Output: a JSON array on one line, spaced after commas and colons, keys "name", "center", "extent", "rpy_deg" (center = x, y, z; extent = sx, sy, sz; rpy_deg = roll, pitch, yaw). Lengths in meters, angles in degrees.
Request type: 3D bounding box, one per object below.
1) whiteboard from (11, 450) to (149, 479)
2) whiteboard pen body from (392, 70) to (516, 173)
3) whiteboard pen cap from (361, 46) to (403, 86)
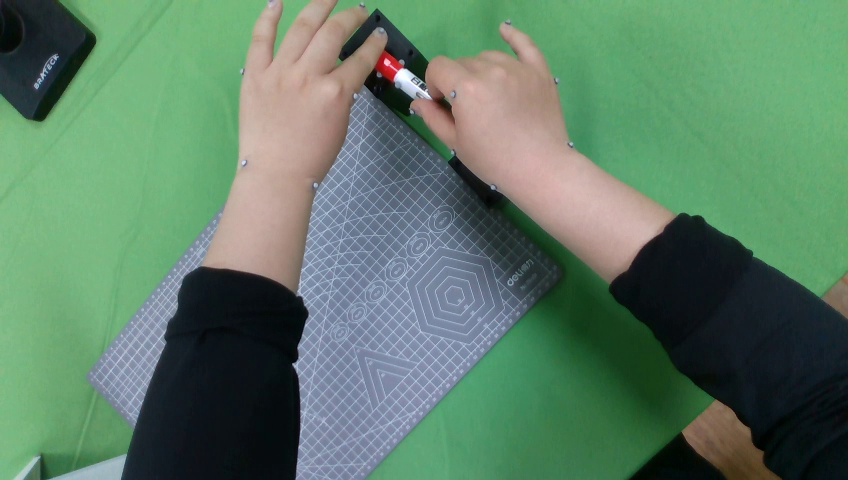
[{"name": "whiteboard", "center": [-0.449, 0.335, 0.583], "extent": [0.143, 0.307, 0.217], "rpy_deg": [6, 95, 32]}, {"name": "whiteboard pen body", "center": [0.014, -0.099, 0.472], "extent": [0.140, 0.017, 0.017], "rpy_deg": [40, 100, 7]}, {"name": "whiteboard pen cap", "center": [-0.033, -0.138, 0.480], "extent": [0.032, 0.017, 0.017], "rpy_deg": [39, 100, 5]}]
